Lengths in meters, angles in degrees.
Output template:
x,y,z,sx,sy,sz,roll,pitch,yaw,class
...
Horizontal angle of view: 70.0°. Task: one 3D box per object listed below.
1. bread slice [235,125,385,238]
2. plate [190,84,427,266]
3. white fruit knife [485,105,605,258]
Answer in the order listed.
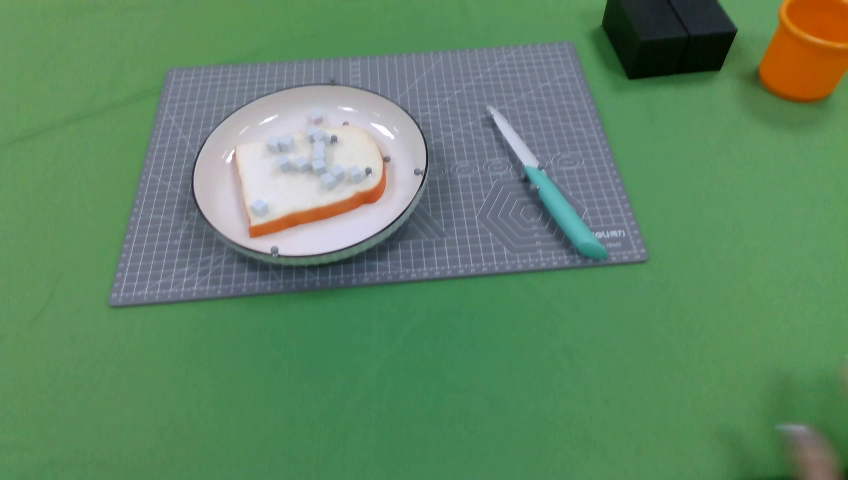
x,y,z,sx,sy,sz,roll,pitch,yaw,class
-0.103,-0.063,0.554,0.132,0.019,0.104,-17,56,-10,bread slice
-0.101,-0.059,0.549,0.209,0.038,0.207,0,54,0,plate
0.103,-0.062,0.562,0.027,0.016,0.205,2,45,-35,white fruit knife
